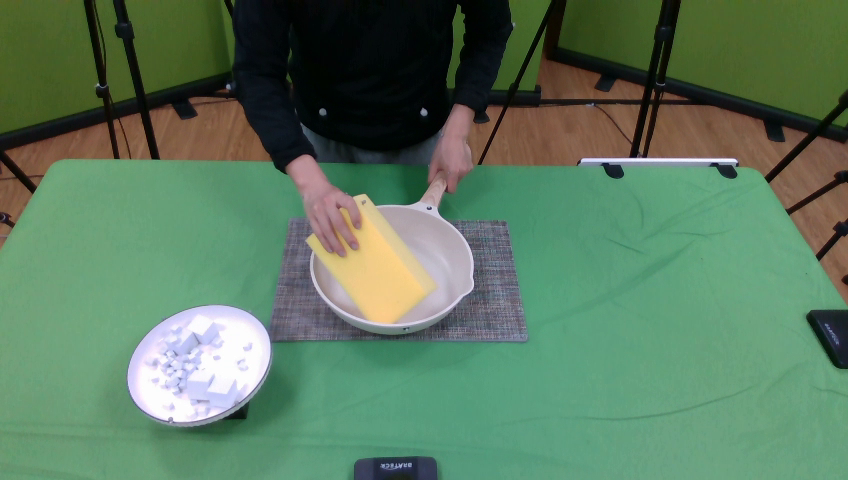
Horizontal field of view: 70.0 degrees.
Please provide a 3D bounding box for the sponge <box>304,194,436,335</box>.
[{"bbox_3d":[-0.091,0.040,1.024,0.206,0.118,0.061,53,20,2],"label":"sponge"}]

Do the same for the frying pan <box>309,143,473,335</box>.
[{"bbox_3d":[-0.017,-0.022,1.155,0.306,0.103,0.486,20,56,13],"label":"frying pan"}]

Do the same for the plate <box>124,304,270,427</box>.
[{"bbox_3d":[-0.336,0.189,0.913,0.208,0.039,0.206,1,46,-1],"label":"plate"}]
